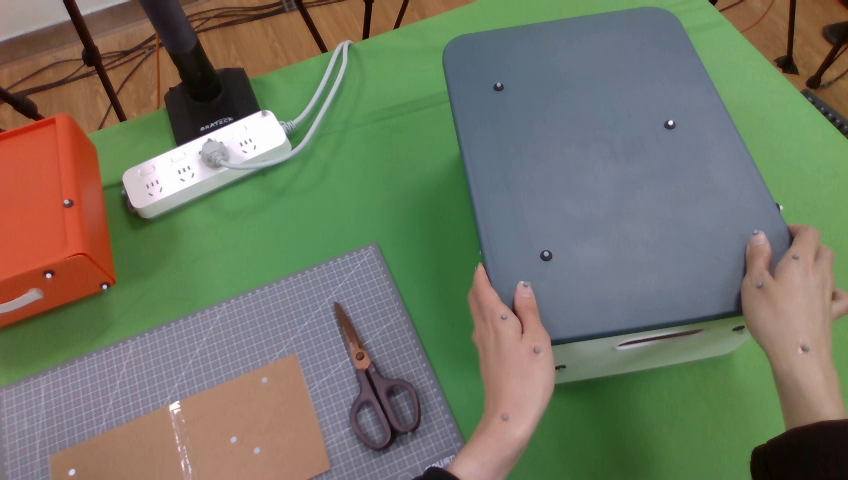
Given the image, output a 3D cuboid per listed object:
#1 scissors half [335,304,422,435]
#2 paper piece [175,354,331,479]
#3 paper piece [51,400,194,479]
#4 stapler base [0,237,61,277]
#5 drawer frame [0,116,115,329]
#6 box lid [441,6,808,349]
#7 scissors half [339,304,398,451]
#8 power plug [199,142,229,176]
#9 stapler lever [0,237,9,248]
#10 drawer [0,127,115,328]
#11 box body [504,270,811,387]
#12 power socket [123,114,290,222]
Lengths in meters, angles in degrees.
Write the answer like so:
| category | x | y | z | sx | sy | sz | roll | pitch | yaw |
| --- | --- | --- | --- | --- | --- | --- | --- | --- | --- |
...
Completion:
| category | x | y | z | sx | sy | sz | roll | pitch | yaw |
| --- | --- | --- | --- | --- | --- | --- | --- | --- | --- |
| scissors half | -0.053 | 0.132 | 0.650 | 0.040 | 0.013 | 0.173 | -44 | 59 | 6 |
| paper piece | -0.179 | 0.200 | 0.625 | 0.135 | 0.004 | 0.134 | -21 | 61 | -8 |
| paper piece | -0.300 | 0.250 | 0.606 | 0.136 | 0.009 | 0.137 | -23 | 62 | -6 |
| stapler base | -0.477 | 0.015 | 0.683 | 0.130 | 0.024 | 0.041 | 5 | 77 | 10 |
| drawer frame | -0.471 | -0.012 | 0.678 | 0.202 | 0.083 | 0.211 | -21 | 60 | -8 |
| box lid | 0.168 | -0.082 | 0.581 | 0.263 | 0.015 | 0.368 | -10 | 60 | 1 |
| scissors half | -0.069 | 0.144 | 0.655 | 0.040 | 0.013 | 0.173 | -31 | 62 | 19 |
| power plug | -0.261 | -0.091 | 0.762 | 0.035 | 0.053 | 0.072 | -18 | 60 | -7 |
| stapler lever | -0.483 | 0.009 | 0.658 | 0.118 | 0.040 | 0.026 | 5 | 76 | 11 |
| drawer | -0.468 | -0.011 | 0.677 | 0.194 | 0.074 | 0.209 | -21 | 60 | -7 |
| box body | 0.182 | -0.044 | 0.654 | 0.254 | 0.162 | 0.360 | -10 | 60 | -2 |
| power socket | -0.282 | -0.097 | 0.793 | 0.227 | 0.033 | 0.071 | -27 | 62 | -12 |
